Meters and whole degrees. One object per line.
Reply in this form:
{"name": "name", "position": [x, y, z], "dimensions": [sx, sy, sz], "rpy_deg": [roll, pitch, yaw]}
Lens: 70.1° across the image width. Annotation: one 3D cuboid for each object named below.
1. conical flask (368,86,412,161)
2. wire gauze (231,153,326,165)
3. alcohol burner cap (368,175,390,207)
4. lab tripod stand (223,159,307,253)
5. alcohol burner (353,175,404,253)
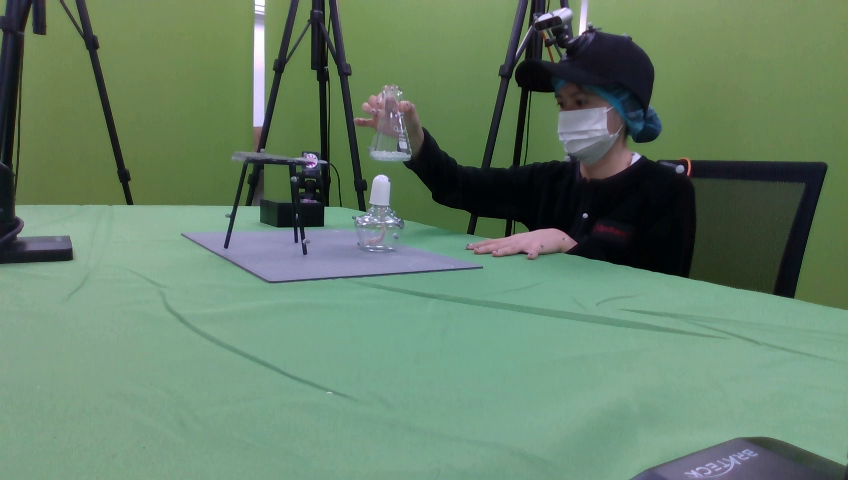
{"name": "conical flask", "position": [-0.055, -0.195, 1.017], "dimensions": [0.075, 0.122, 0.075], "rpy_deg": [2, 5, 0]}
{"name": "wire gauze", "position": [-0.215, -0.118, 0.881], "dimensions": [0.125, 0.011, 0.121], "rpy_deg": [1, 7, -19]}
{"name": "alcohol burner cap", "position": [-0.067, -0.075, 0.923], "dimensions": [0.034, 0.048, 0.034], "rpy_deg": [8, 11, -1]}
{"name": "lab tripod stand", "position": [-0.220, -0.053, 0.896], "dimensions": [0.148, 0.131, 0.148], "rpy_deg": [1, 6, 0]}
{"name": "alcohol burner", "position": [-0.069, -0.040, 0.926], "dimensions": [0.078, 0.119, 0.078], "rpy_deg": [1, 9, 0]}
